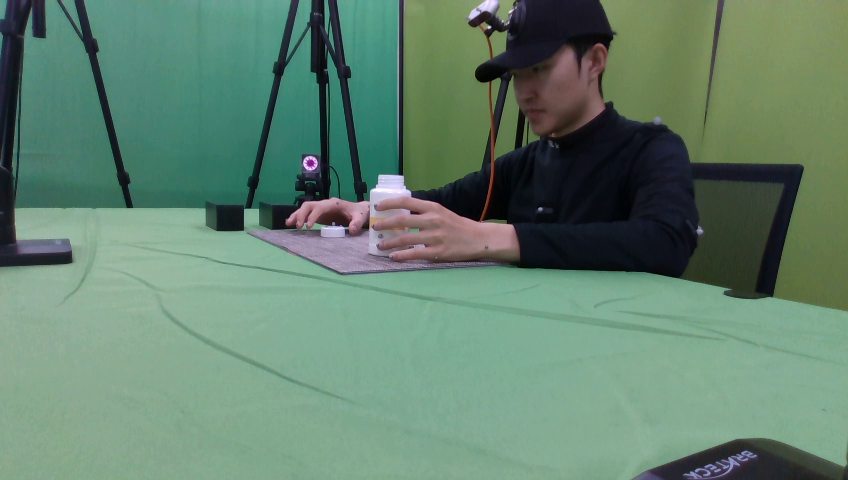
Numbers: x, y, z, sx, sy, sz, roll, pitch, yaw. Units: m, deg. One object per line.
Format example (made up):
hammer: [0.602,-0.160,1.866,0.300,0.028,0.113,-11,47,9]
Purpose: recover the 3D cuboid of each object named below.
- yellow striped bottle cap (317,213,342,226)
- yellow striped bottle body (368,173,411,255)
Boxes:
yellow striped bottle cap: [-0.172,-0.038,1.102,0.044,0.018,0.044,-4,12,1]
yellow striped bottle body: [-0.052,-0.040,0.904,0.063,0.120,0.063,2,7,0]
